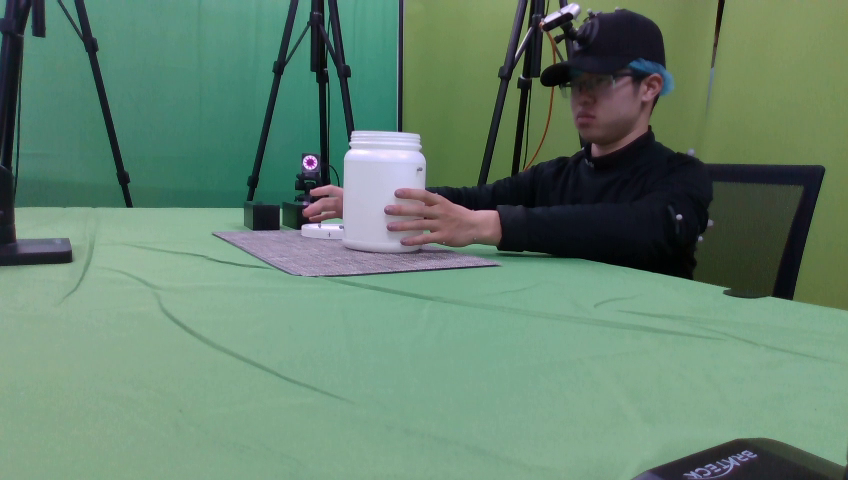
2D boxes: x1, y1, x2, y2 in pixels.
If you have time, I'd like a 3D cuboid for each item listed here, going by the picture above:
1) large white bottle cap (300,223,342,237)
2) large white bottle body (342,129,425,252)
[{"bbox_3d":[-0.167,-0.018,1.103,0.115,0.018,0.115,2,5,0],"label":"large white bottle cap"},{"bbox_3d":[-0.064,-0.080,0.957,0.131,0.184,0.130,2,8,0],"label":"large white bottle body"}]
